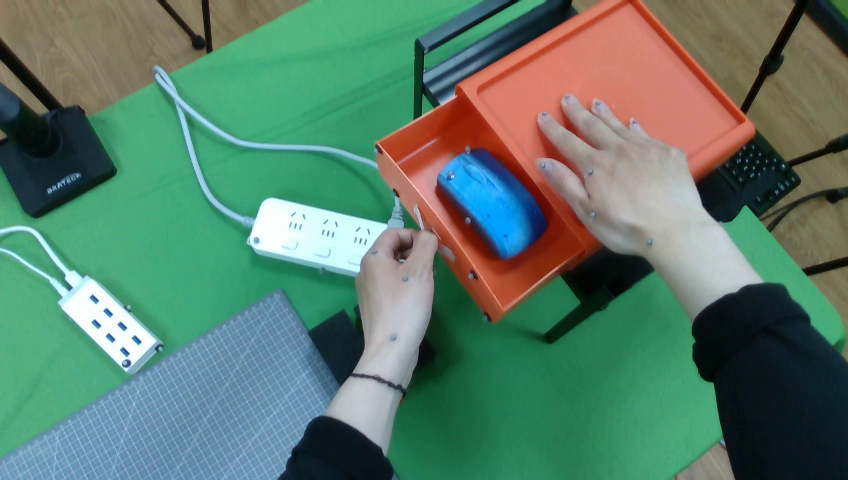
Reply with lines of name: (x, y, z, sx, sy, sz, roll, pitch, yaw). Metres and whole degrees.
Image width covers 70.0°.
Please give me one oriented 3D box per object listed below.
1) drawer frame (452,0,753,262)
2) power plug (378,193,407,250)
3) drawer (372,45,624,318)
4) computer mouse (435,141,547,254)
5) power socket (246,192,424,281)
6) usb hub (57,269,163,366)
drawer frame: (0.167, -0.118, 0.600, 0.213, 0.083, 0.200, -33, 76, -13)
power plug: (-0.031, -0.021, 0.756, 0.035, 0.053, 0.072, 24, 71, 6)
drawer: (0.090, -0.064, 0.581, 0.212, 0.073, 0.193, -33, 76, -12)
computer mouse: (0.064, -0.045, 0.589, 0.063, 0.041, 0.116, -35, 73, -9)
power socket: (-0.112, -0.005, 0.767, 0.227, 0.033, 0.072, 13, 72, 2)
usb hub: (-0.378, 0.093, 0.729, 0.124, 0.025, 0.049, 39, 76, 9)
